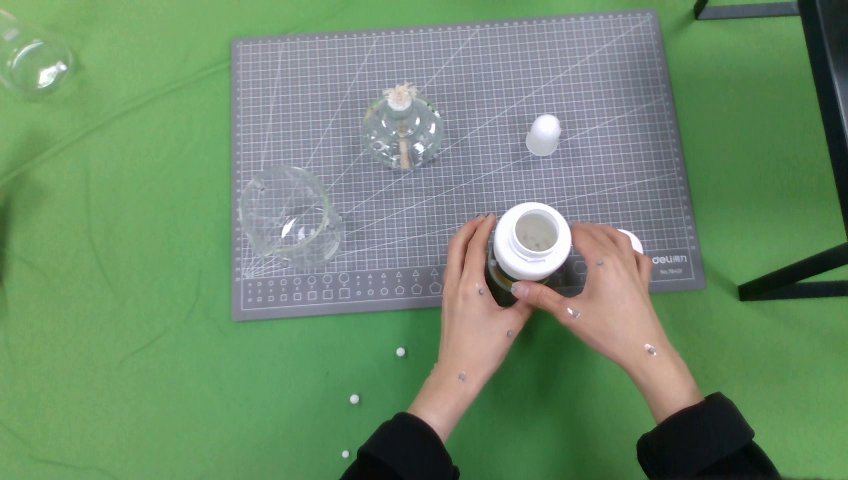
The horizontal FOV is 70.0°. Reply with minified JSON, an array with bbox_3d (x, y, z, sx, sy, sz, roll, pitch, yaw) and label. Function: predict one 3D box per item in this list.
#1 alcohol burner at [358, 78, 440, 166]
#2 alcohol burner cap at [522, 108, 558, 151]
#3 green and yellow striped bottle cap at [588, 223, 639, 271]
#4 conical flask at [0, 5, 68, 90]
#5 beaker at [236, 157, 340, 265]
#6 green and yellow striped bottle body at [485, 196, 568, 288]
[{"bbox_3d":[-0.024,-0.114,0.557,0.078,0.119,0.077,0,75,0],"label":"alcohol burner"},{"bbox_3d":[0.115,-0.111,0.590,0.034,0.048,0.033,0,77,1],"label":"alcohol burner cap"},{"bbox_3d":[0.181,0.006,0.577,0.045,0.020,0.045,0,79,0],"label":"green and yellow striped bottle cap"},{"bbox_3d":[-0.412,-0.203,0.582,0.075,0.122,0.075,0,76,2],"label":"conical flask"},{"bbox_3d":[-0.118,-0.018,0.544,0.074,0.101,0.084,24,79,7],"label":"beaker"},{"bbox_3d":[0.087,0.002,0.525,0.063,0.120,0.063,0,77,2],"label":"green and yellow striped bottle body"}]
